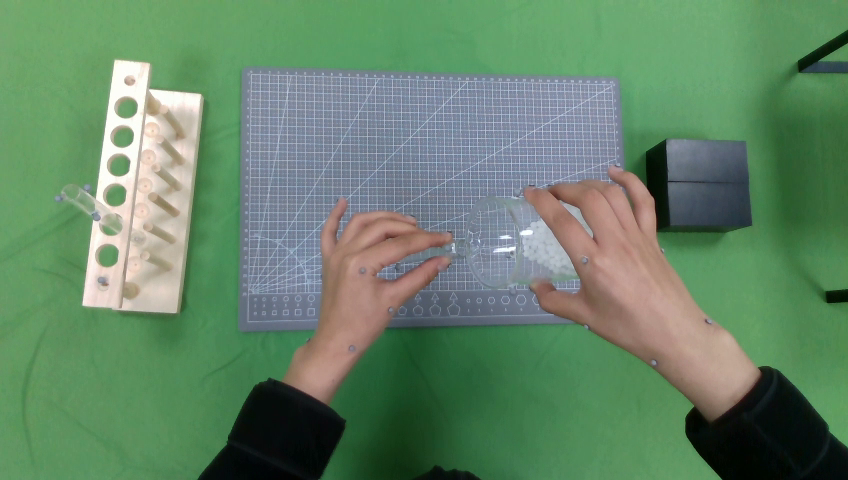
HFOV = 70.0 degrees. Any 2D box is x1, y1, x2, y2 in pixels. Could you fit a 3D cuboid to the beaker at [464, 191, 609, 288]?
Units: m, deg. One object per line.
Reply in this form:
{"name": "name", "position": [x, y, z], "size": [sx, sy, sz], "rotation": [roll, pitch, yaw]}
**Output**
{"name": "beaker", "position": [0.092, -0.001, 0.496], "size": [0.101, 0.083, 0.074], "rotation": [-3, 85, -29]}

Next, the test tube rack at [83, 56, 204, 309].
{"name": "test tube rack", "position": [-0.283, -0.053, 0.623], "size": [0.067, 0.085, 0.241], "rotation": [4, 82, -6]}

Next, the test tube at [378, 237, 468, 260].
{"name": "test tube", "position": [-0.006, 0.009, 0.570], "size": [0.017, 0.150, 0.017], "rotation": [2, 86, -31]}

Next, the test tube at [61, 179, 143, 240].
{"name": "test tube", "position": [-0.297, -0.024, 0.568], "size": [0.017, 0.151, 0.017], "rotation": [1, 75, -5]}
